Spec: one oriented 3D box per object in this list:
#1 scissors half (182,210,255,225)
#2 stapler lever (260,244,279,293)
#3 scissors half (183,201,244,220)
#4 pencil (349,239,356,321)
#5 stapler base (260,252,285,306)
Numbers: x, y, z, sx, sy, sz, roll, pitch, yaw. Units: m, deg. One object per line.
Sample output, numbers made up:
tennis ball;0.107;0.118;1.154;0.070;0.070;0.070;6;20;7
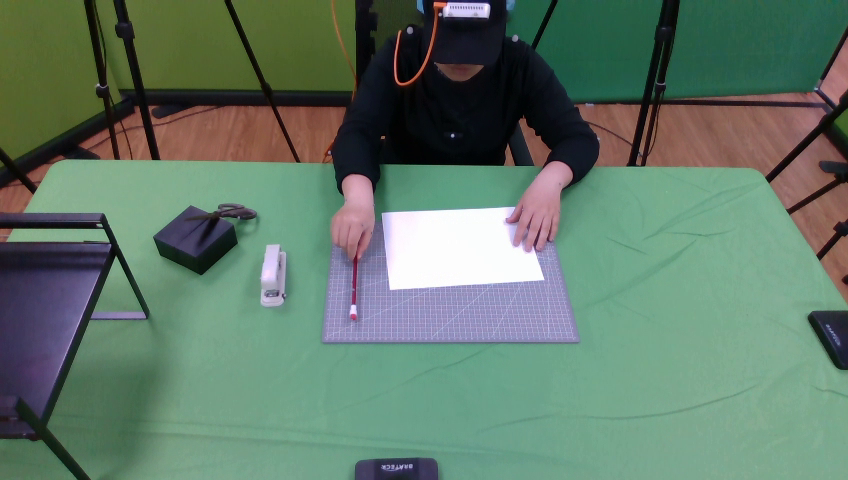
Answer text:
scissors half;-0.389;-0.042;1.158;0.040;0.013;0.175;42;21;22
stapler lever;-0.278;0.045;1.096;0.027;0.040;0.117;-1;44;-9
scissors half;-0.405;-0.054;1.163;0.040;0.013;0.175;30;18;7
pencil;-0.130;0.069;1.110;0.012;0.012;0.193;0;46;-5
stapler base;-0.279;0.064;1.113;0.041;0.024;0.129;-1;44;-9
